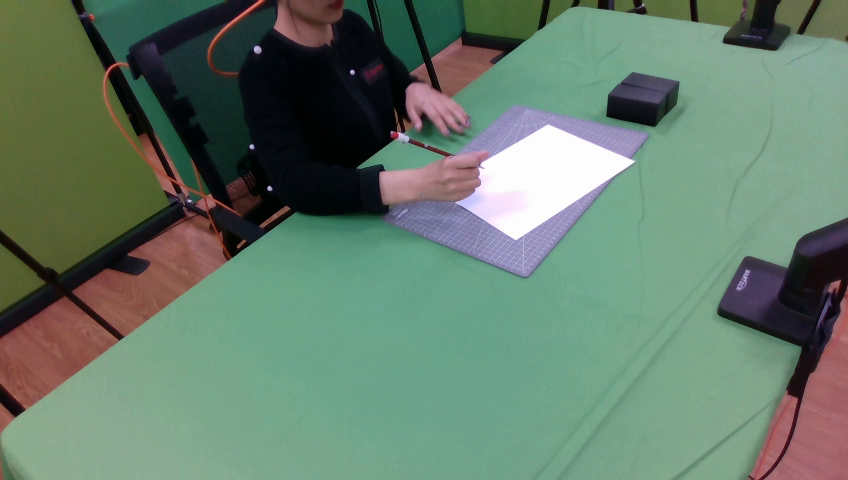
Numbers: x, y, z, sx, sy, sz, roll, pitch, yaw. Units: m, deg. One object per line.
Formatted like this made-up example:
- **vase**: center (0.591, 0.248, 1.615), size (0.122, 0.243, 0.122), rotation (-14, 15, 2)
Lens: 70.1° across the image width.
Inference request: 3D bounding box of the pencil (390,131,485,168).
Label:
- **pencil**: center (0.027, -0.140, 0.956), size (0.196, 0.012, 0.012), rotation (14, 25, -38)
